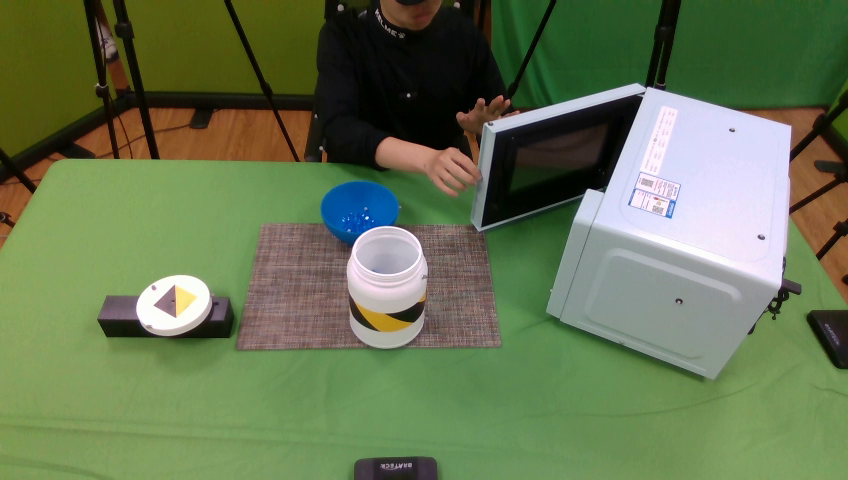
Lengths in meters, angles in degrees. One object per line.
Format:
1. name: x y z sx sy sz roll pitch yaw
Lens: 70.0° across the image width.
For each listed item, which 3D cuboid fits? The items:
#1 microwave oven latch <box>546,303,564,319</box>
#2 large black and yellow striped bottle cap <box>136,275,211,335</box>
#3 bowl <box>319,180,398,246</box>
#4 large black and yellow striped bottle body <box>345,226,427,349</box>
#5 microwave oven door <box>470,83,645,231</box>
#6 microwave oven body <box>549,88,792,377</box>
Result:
1. microwave oven latch: 0.242 0.102 1.081 0.030 0.029 0.079 21 48 17
2. large black and yellow striped bottle cap: -0.412 0.105 0.999 0.115 0.019 0.114 3 46 -3
3. bowl: -0.126 -0.039 1.181 0.151 0.077 0.150 3 46 -2
4. large black and yellow striped bottle body: -0.062 0.078 0.998 0.131 0.185 0.130 2 46 -2
5. microwave oven door: 0.263 -0.165 1.199 0.356 0.245 0.039 -19 50 -20
6. microwave oven body: 0.456 -0.028 1.088 0.325 0.261 0.440 20 47 16
